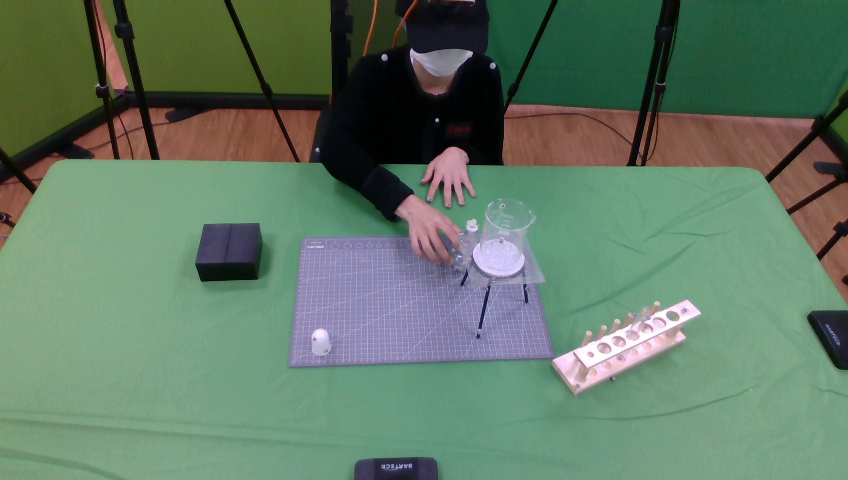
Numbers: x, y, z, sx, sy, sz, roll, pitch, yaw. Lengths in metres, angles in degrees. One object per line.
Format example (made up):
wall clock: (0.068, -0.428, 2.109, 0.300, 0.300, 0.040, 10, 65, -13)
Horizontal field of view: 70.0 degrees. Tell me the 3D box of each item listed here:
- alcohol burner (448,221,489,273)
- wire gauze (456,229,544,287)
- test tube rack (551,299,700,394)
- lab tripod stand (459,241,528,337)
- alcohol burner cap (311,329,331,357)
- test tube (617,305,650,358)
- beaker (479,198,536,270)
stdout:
alcohol burner: (0.085, 0.006, 1.133, 0.078, 0.119, 0.077, 2, 48, -3)
wire gauze: (0.125, 0.030, 1.008, 0.125, 0.011, 0.120, -3, 48, -11)
test tube rack: (0.339, 0.166, 1.021, 0.242, 0.085, 0.066, -19, 50, -21)
lab tripod stand: (0.122, 0.075, 1.054, 0.148, 0.132, 0.147, 3, 44, -3)
alcohol burner cap: (-0.173, 0.168, 1.005, 0.034, 0.048, 0.033, 2, 46, -2)
test tube: (0.333, 0.149, 0.967, 0.017, 0.151, 0.017, 0, 52, 1)
beaker: (0.131, -0.007, 0.975, 0.084, 0.101, 0.073, 2, 46, -3)
